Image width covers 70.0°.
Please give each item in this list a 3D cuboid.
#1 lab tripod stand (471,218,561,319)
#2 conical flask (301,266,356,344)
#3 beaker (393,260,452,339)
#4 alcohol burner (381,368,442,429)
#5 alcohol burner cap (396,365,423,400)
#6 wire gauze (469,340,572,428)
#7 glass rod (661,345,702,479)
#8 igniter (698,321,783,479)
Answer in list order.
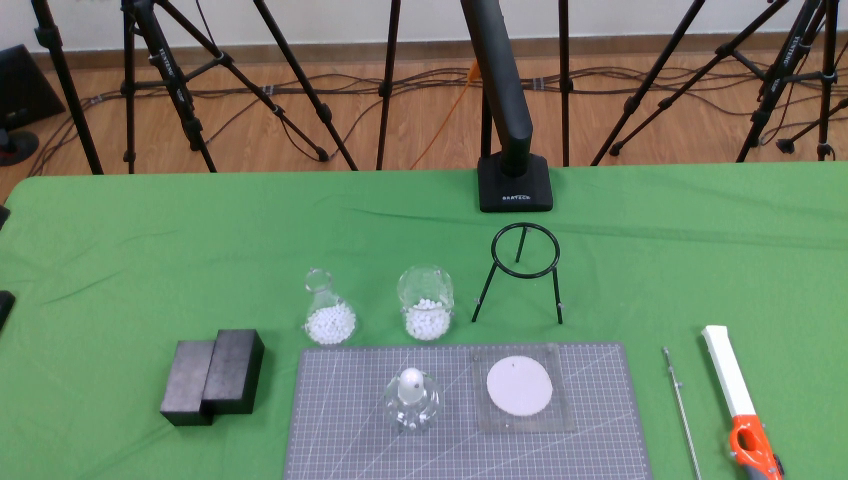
[{"bbox_3d":[0.130,0.047,0.838,0.148,0.132,0.147,-1,56,2],"label":"lab tripod stand"},{"bbox_3d":[-0.137,0.084,0.827,0.075,0.123,0.074,-1,54,1],"label":"conical flask"},{"bbox_3d":[0.002,0.087,0.834,0.083,0.101,0.074,30,61,21],"label":"beaker"},{"bbox_3d":[-0.016,0.188,0.748,0.078,0.120,0.077,0,56,1],"label":"alcohol burner"},{"bbox_3d":[-0.016,0.167,0.719,0.034,0.048,0.033,2,54,-3],"label":"alcohol burner cap"},{"bbox_3d":[0.126,0.191,0.807,0.125,0.011,0.120,-2,54,-2],"label":"wire gauze"},{"bbox_3d":[0.331,0.225,0.777,0.008,0.008,0.197,-2,53,1],"label":"glass rod"},{"bbox_3d":[0.401,0.226,0.762,0.057,0.025,0.274,3,54,-8],"label":"igniter"}]
